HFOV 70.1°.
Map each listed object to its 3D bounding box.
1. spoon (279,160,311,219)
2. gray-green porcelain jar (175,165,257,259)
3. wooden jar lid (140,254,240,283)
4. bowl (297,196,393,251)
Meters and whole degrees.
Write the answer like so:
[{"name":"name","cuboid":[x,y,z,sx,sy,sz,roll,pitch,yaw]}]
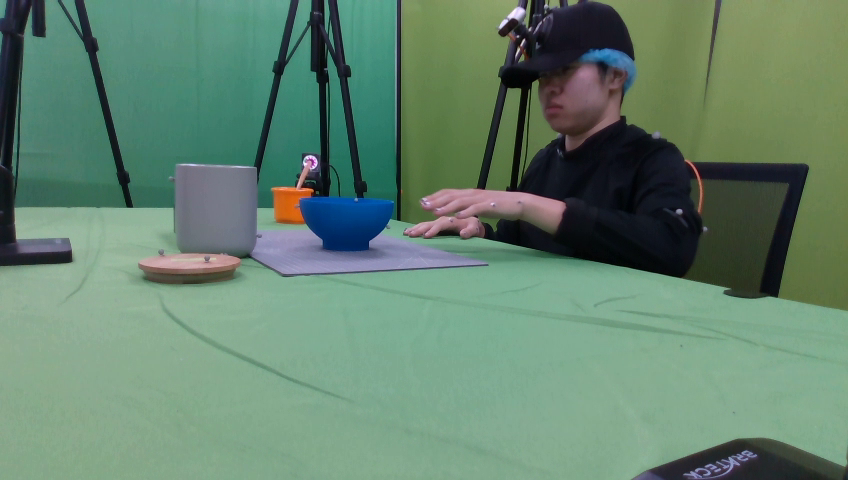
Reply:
[{"name":"spoon","cuboid":[-0.284,-0.117,1.371,0.041,0.193,0.022,4,-37,10]},{"name":"gray-green porcelain jar","cuboid":[-0.286,-0.039,0.837,0.106,0.126,0.106,2,7,0]},{"name":"wooden jar lid","cuboid":[-0.269,0.033,0.698,0.108,0.020,0.108,2,5,0]},{"name":"bowl","cuboid":[-0.125,-0.026,0.958,0.151,0.077,0.151,2,7,0]}]
